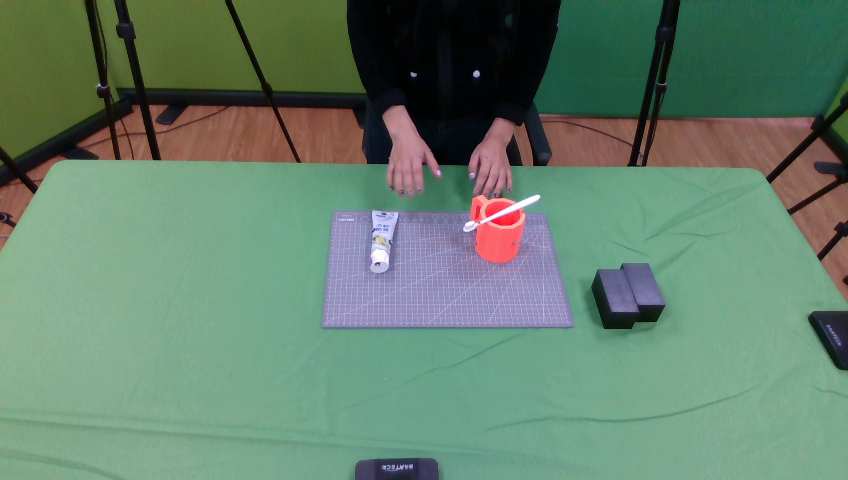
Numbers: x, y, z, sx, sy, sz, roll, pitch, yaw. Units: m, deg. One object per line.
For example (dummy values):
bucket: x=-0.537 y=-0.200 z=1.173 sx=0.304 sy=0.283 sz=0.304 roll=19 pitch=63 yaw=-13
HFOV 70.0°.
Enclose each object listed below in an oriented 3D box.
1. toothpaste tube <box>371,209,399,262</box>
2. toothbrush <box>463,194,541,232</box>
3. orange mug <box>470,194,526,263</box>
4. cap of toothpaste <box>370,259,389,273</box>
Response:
toothpaste tube: x=-0.080 y=-0.008 z=1.193 sx=0.055 sy=0.034 sz=0.164 roll=8 pitch=42 yaw=-6
toothbrush: x=0.149 y=-0.054 z=1.131 sx=0.182 sy=0.017 sz=0.014 roll=-23 pitch=46 yaw=-24
orange mug: x=0.136 y=-0.030 z=1.180 sx=0.083 sy=0.101 sz=0.125 roll=-26 pitch=58 yaw=-26
cap of toothpaste: x=-0.083 y=0.047 z=1.132 sx=0.037 sy=0.037 sz=0.011 roll=-7 pitch=50 yaw=-9
